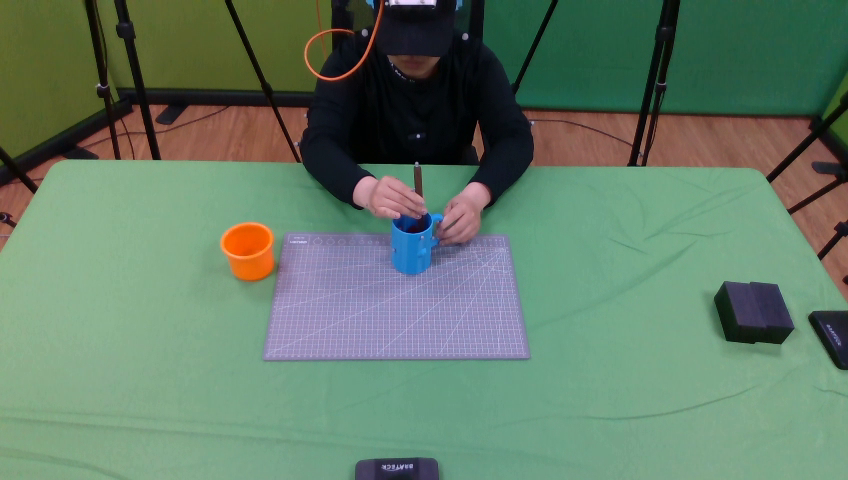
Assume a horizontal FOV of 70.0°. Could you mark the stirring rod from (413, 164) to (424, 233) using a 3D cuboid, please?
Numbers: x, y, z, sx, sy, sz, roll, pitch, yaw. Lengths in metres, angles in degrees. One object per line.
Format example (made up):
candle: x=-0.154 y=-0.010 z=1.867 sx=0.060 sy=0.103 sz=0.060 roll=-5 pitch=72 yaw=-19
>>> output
stirring rod: x=-0.008 y=-0.059 z=1.090 sx=0.014 sy=0.177 sz=0.006 roll=5 pitch=39 yaw=10

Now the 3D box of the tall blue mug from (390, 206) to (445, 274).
tall blue mug: x=-0.017 y=-0.009 z=1.143 sx=0.077 sy=0.108 sz=0.107 roll=23 pitch=49 yaw=19
